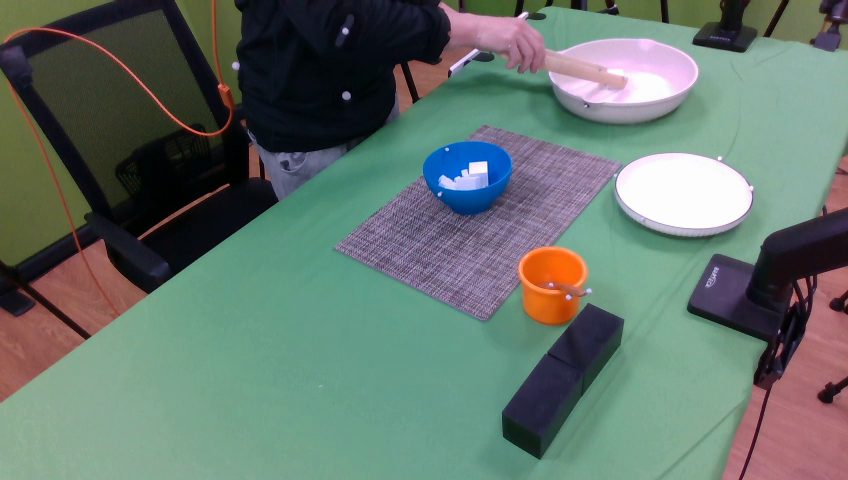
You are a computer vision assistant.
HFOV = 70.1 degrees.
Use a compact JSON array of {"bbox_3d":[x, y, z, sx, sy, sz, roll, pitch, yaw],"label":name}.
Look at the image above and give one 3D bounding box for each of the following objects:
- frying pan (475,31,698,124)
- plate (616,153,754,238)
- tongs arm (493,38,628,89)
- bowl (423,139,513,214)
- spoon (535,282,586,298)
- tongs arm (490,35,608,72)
[{"bbox_3d":[0.320,-0.371,1.290,0.485,0.103,0.307,28,50,23],"label":"frying pan"},{"bbox_3d":[0.416,-0.069,0.977,0.207,0.039,0.206,-4,40,4],"label":"plate"},{"bbox_3d":[0.276,-0.334,1.164,0.388,0.026,0.050,-4,39,-44],"label":"tongs arm"},{"bbox_3d":[0.076,-0.098,1.021,0.151,0.077,0.150,-4,41,4],"label":"bowl"},{"bbox_3d":[0.176,0.063,0.774,0.041,0.194,0.021,-3,85,1],"label":"spoon"},{"bbox_3d":[0.256,-0.354,1.185,0.391,0.028,0.028,-4,42,-43],"label":"tongs arm"}]
